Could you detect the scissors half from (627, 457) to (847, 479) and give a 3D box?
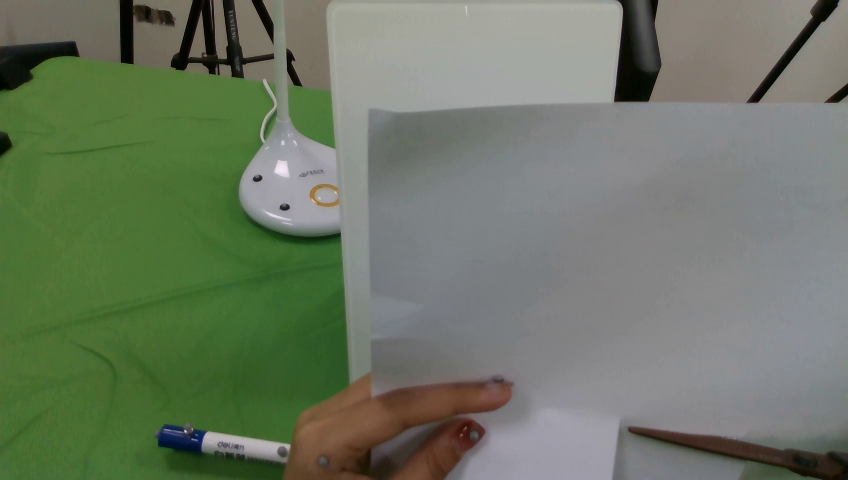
[{"bbox_3d":[0.175,0.098,0.248,0.174,0.013,0.040,-4,0,24],"label":"scissors half"}]

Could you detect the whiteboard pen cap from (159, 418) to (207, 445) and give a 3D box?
[{"bbox_3d":[-0.174,0.140,0.442,0.033,0.018,0.018,9,39,-2],"label":"whiteboard pen cap"}]

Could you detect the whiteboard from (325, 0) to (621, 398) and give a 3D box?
[{"bbox_3d":[0.025,-0.048,0.528,0.218,0.307,0.142,-6,22,-14],"label":"whiteboard"}]

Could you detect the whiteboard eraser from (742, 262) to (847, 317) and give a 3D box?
[{"bbox_3d":[0.391,0.051,0.620,0.113,0.042,0.055,2,41,-6],"label":"whiteboard eraser"}]

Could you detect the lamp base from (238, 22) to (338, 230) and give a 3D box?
[{"bbox_3d":[-0.133,-0.129,0.655,0.161,0.182,0.177,-27,48,-34],"label":"lamp base"}]

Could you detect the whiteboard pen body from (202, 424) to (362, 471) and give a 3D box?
[{"bbox_3d":[-0.116,0.150,0.442,0.141,0.017,0.017,10,40,0],"label":"whiteboard pen body"}]

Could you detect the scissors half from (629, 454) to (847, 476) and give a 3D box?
[{"bbox_3d":[0.180,0.098,0.269,0.175,0.040,0.013,-2,85,2],"label":"scissors half"}]
